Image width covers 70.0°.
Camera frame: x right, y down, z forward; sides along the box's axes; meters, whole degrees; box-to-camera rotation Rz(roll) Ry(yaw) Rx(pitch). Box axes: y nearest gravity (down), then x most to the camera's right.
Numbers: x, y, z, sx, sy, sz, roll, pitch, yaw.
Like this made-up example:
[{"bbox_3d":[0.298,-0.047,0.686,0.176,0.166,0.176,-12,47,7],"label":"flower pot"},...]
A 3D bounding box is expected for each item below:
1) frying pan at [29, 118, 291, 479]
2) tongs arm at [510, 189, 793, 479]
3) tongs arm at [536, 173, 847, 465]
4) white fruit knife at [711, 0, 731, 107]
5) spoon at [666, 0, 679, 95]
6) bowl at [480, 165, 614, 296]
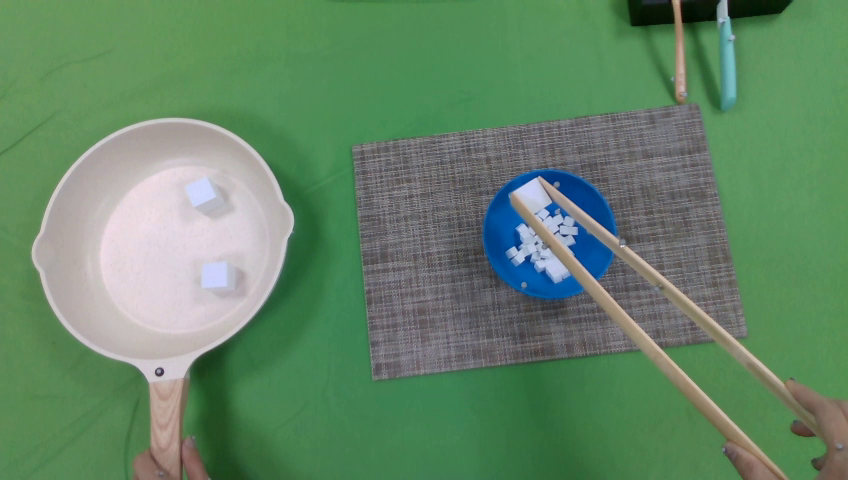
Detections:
[{"bbox_3d":[-0.294,0.097,0.696,0.307,0.103,0.484,-7,70,1],"label":"frying pan"},{"bbox_3d":[0.197,0.078,0.533,0.028,0.028,0.383,-31,57,-14],"label":"tongs arm"},{"bbox_3d":[0.217,0.066,0.537,0.051,0.027,0.381,-37,59,-13],"label":"tongs arm"},{"bbox_3d":[0.370,-0.275,0.763,0.016,0.027,0.207,-6,93,-4],"label":"white fruit knife"},{"bbox_3d":[0.314,-0.281,0.761,0.041,0.022,0.194,4,100,25],"label":"spoon"},{"bbox_3d":[0.139,-0.004,0.713,0.151,0.077,0.150,0,78,2],"label":"bowl"}]
